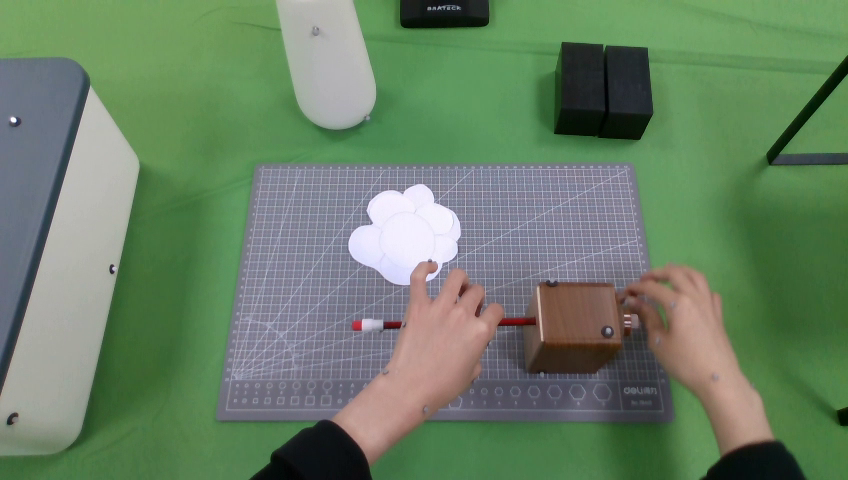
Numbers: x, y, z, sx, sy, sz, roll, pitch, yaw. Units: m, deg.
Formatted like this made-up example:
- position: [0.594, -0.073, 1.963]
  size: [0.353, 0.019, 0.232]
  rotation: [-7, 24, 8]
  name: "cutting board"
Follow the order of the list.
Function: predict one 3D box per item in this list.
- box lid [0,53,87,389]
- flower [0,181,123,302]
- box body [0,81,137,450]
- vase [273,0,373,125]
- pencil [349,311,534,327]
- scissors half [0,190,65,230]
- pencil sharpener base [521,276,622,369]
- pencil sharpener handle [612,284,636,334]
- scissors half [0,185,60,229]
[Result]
- position: [-0.457, -0.018, 0.522]
  size: [0.263, 0.015, 0.368]
  rotation: [-1, 65, -1]
  name: "box lid"
- position: [-0.452, 0.048, 0.667]
  size: [0.038, 0.044, 0.359]
  rotation: [-8, 39, 33]
  name: "flower"
- position: [-0.455, 0.017, 0.590]
  size: [0.254, 0.161, 0.361]
  rotation: [-1, 65, 0]
  name: "box body"
- position: [-0.114, -0.219, 0.675]
  size: [0.098, 0.201, 0.097]
  rotation: [-1, 63, 2]
  name: "vase"
- position: [0.028, 0.071, 0.552]
  size: [0.194, 0.012, 0.012]
  rotation: [-2, 64, -2]
  name: "pencil"
- position: [-0.493, -0.015, 0.673]
  size: [0.175, 0.040, 0.012]
  rotation: [-25, 35, -12]
  name: "scissors half"
- position: [0.138, 0.081, 0.578]
  size: [0.077, 0.108, 0.061]
  rotation: [0, 64, 1]
  name: "pencil sharpener base"
- position: [0.188, 0.061, 0.566]
  size: [0.030, 0.036, 0.067]
  rotation: [0, 29, 1]
  name: "pencil sharpener handle"
- position: [-0.488, -0.004, 0.680]
  size: [0.175, 0.040, 0.012]
  rotation: [-33, 30, -6]
  name: "scissors half"
